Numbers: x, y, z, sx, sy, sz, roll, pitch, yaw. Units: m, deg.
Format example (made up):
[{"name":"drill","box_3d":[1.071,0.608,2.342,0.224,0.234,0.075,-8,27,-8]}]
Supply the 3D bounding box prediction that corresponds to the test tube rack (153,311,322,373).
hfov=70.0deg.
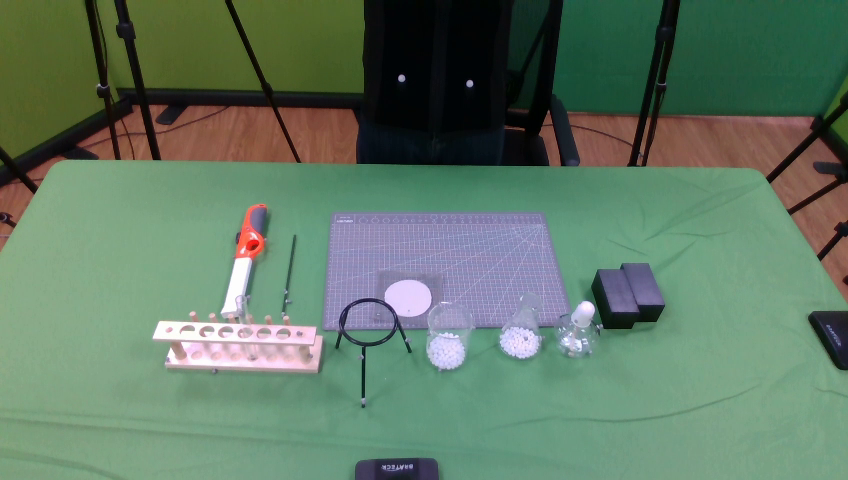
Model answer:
[{"name":"test tube rack","box_3d":[-0.293,0.160,0.978,0.242,0.085,0.066,3,46,-2]}]

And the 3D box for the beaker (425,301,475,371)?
[{"name":"beaker","box_3d":[0.038,0.159,0.996,0.074,0.101,0.083,-13,48,-17]}]

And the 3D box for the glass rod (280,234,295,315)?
[{"name":"glass rod","box_3d":[-0.253,0.060,1.132,0.008,0.008,0.198,0,46,-4]}]

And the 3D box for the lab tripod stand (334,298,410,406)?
[{"name":"lab tripod stand","box_3d":[-0.086,0.164,0.957,0.148,0.132,0.147,3,44,-2]}]

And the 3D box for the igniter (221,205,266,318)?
[{"name":"igniter","box_3d":[-0.337,0.030,1.140,0.057,0.025,0.274,-6,46,4]}]

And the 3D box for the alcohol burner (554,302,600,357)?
[{"name":"alcohol burner","box_3d":[0.260,0.143,1.018,0.078,0.119,0.077,3,45,-3]}]

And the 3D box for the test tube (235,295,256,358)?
[{"name":"test tube","box_3d":[-0.274,0.136,0.933,0.017,0.151,0.017,4,46,-4]}]

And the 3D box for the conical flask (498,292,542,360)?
[{"name":"conical flask","box_3d":[0.167,0.139,1.010,0.075,0.122,0.075,2,46,-2]}]

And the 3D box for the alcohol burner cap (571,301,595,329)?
[{"name":"alcohol burner cap","box_3d":[0.262,0.120,0.991,0.034,0.048,0.033,1,52,-2]}]

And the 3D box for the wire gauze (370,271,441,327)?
[{"name":"wire gauze","box_3d":[-0.032,0.103,1.105,0.125,0.011,0.121,4,46,3]}]
